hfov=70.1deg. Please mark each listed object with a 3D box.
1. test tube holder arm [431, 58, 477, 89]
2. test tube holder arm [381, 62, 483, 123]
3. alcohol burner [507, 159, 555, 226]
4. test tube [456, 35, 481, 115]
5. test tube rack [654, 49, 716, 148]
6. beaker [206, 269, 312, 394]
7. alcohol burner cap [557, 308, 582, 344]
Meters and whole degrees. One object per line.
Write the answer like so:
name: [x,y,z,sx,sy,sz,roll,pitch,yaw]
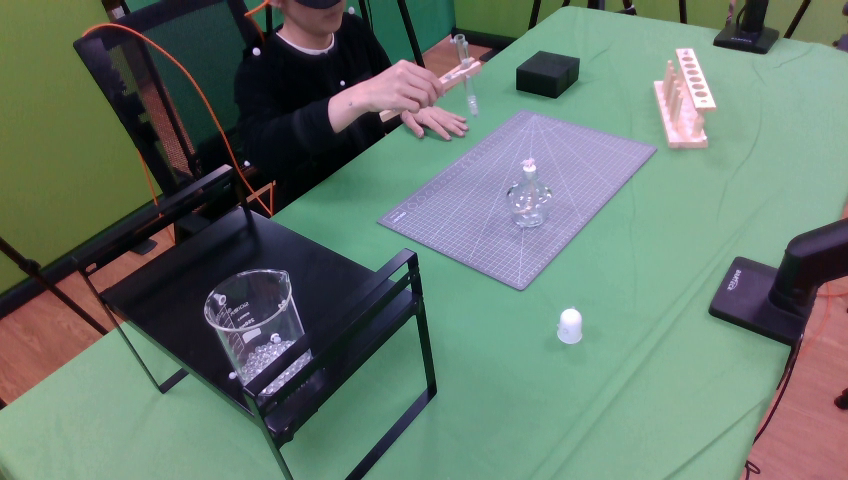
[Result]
test tube holder arm: [0.048,-0.255,0.943,0.088,0.015,0.010,-37,50,-15]
test tube holder arm: [0.014,-0.228,0.930,0.179,0.015,0.013,-31,49,-10]
alcohol burner: [0.172,-0.081,0.969,0.078,0.119,0.077,-4,43,4]
test tube: [0.072,-0.257,0.956,0.017,0.151,0.017,-8,52,11]
test tube rack: [0.502,-0.280,1.176,0.066,0.085,0.241,2,41,11]
beaker: [-0.146,0.086,0.560,0.073,0.101,0.084,19,47,27]
alcohol burner cap: [0.194,0.111,0.802,0.034,0.048,0.033,-4,39,4]
